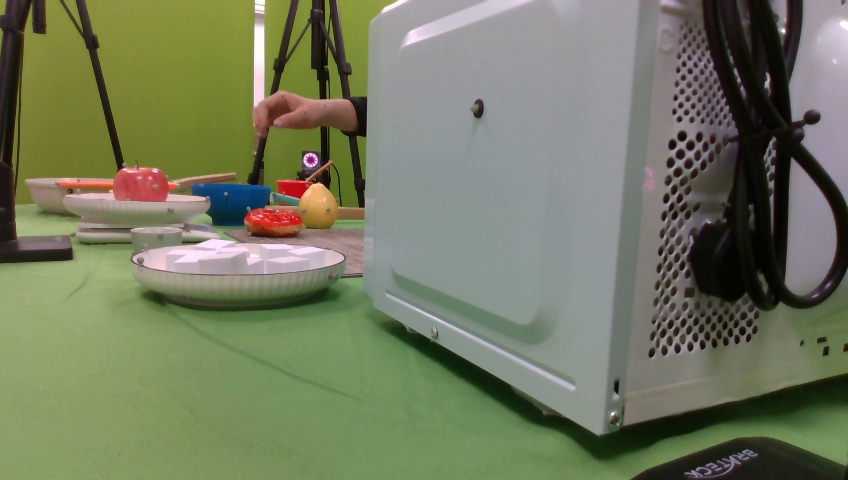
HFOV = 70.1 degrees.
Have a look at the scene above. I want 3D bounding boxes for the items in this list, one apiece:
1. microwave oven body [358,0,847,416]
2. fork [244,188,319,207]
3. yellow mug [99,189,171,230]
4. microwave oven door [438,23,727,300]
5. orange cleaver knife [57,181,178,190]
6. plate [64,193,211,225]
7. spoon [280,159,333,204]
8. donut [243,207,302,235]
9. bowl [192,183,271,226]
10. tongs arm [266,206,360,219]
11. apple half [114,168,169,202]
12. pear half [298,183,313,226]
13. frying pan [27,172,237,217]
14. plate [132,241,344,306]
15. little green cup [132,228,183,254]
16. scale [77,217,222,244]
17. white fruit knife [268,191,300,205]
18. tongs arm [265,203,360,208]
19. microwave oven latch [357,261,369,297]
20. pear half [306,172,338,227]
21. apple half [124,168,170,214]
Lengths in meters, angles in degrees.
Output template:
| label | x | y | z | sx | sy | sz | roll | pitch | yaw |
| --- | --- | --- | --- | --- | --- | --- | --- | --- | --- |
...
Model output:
| label | x | y | z | sx | sy | sz | roll | pitch | yaw |
| --- | --- | --- | --- | --- | --- | --- | --- | --- | --- |
| microwave oven body | 0.211 | -0.047 | 0.474 | 0.444 | 0.260 | 0.324 | -1 | 7 | -28 |
| fork | -0.356 | -0.105 | 1.526 | 0.208 | 0.018 | 0.028 | 16 | -6 | -41 |
| yellow mug | -0.519 | -0.055 | 1.080 | 0.099 | 0.064 | 0.131 | 7 | 10 | 26 |
| microwave oven door | 0.181 | -0.073 | 0.621 | 0.358 | 0.243 | 0.039 | -2 | 8 | -29 |
| orange cleaver knife | -0.600 | -0.109 | 1.189 | 0.212 | 0.012 | 0.077 | -1 | 11 | -26 |
| plate | -0.446 | -0.051 | 0.951 | 0.209 | 0.038 | 0.209 | 2 | 7 | 0 |
| spoon | -0.316 | -0.159 | 1.640 | 0.194 | 0.022 | 0.041 | -50 | 32 | -20 |
| donut | -0.261 | -0.032 | 1.043 | 0.099 | 0.048 | 0.099 | 4 | 9 | 0 |
| bowl | -0.382 | -0.071 | 1.202 | 0.151 | 0.077 | 0.151 | 3 | 7 | 0 |
| tongs arm | -0.173 | -0.061 | 1.362 | 0.387 | 0.026 | 0.050 | -1 | 4 | -31 |
| apple half | -0.445 | -0.075 | 0.938 | 0.081 | 0.074 | 0.053 | 6 | 11 | 8 |
| pear half | -0.235 | -0.071 | 1.207 | 0.031 | 0.088 | 0.070 | 3 | 10 | 0 |
| frying pan | -0.624 | -0.118 | 1.387 | 0.305 | 0.102 | 0.490 | 8 | 17 | 32 |
| plate | -0.187 | 0.033 | 0.625 | 0.208 | 0.039 | 0.207 | 2 | 7 | 0 |
| little green cup | -0.342 | 0.006 | 0.779 | 0.061 | 0.038 | 0.061 | 2 | 8 | 0 |
| scale | -0.434 | -0.018 | 0.963 | 0.202 | 0.031 | 0.148 | -1 | 8 | -27 |
| white fruit knife | -0.364 | -0.105 | 1.464 | 0.208 | 0.027 | 0.016 | 15 | -1 | -34 |
| tongs arm | -0.211 | -0.069 | 1.440 | 0.389 | 0.027 | 0.028 | 1 | 0 | -17 |
| microwave oven latch | -0.019 | 0.033 | 0.530 | 0.079 | 0.029 | 0.030 | -1 | 7 | -26 |
| pear half | -0.199 | -0.079 | 1.203 | 0.056 | 0.110 | 0.076 | 3 | 11 | 1 |
| apple half | -0.440 | -0.080 | 0.976 | 0.081 | 0.081 | 0.033 | 3 | 10 | 8 |
